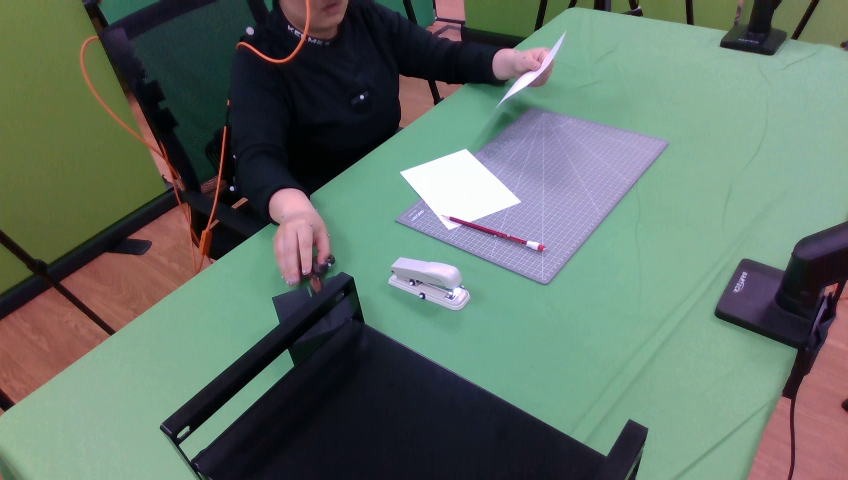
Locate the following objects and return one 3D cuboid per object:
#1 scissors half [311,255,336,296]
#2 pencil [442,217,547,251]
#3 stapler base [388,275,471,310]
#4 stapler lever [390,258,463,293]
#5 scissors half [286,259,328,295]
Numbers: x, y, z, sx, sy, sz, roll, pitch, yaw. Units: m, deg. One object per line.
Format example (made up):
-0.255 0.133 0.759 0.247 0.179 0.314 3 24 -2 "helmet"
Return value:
-0.151 0.052 0.898 0.040 0.013 0.174 -8 17 -6 "scissors half"
0.110 -0.012 0.979 0.192 0.012 0.012 18 46 30 "pencil"
0.007 0.066 0.897 0.129 0.024 0.041 17 43 29 "stapler base"
0.002 0.046 0.881 0.117 0.040 0.027 17 44 29 "stapler lever"
-0.171 0.056 0.893 0.040 0.013 0.174 -19 20 -23 "scissors half"
